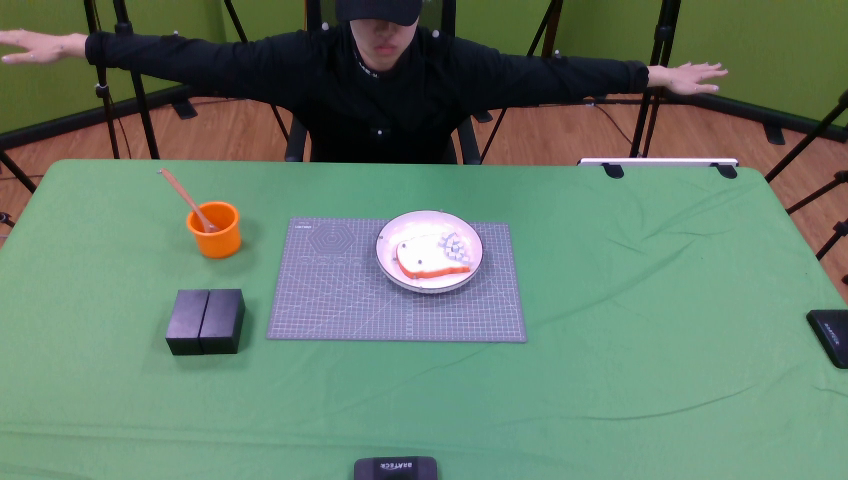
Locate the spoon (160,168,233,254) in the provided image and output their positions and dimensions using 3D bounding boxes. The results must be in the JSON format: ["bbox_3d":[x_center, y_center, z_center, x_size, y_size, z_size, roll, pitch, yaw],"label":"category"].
[{"bbox_3d":[-0.424,-0.055,1.130,0.041,0.194,0.021,-42,18,-31],"label":"spoon"}]

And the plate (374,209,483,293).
[{"bbox_3d":[0.009,0.024,1.160,0.209,0.038,0.208,2,46,-2],"label":"plate"}]

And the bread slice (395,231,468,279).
[{"bbox_3d":[0.011,0.030,1.158,0.132,0.019,0.104,-8,47,-14],"label":"bread slice"}]
